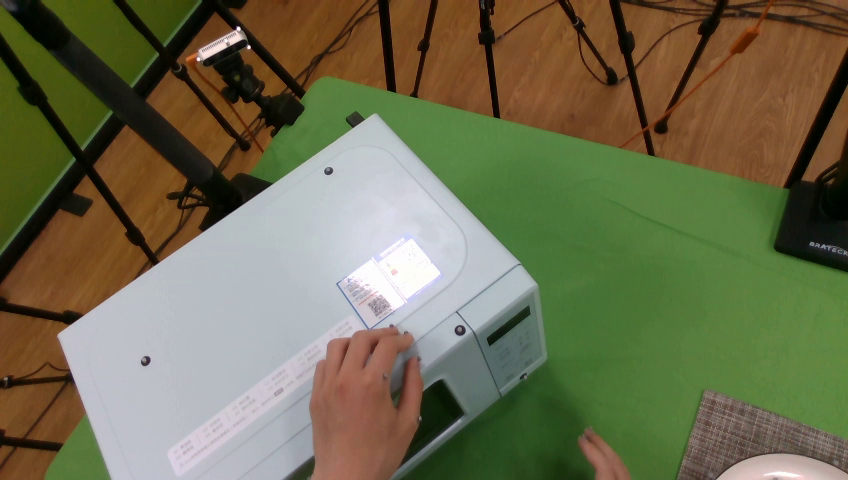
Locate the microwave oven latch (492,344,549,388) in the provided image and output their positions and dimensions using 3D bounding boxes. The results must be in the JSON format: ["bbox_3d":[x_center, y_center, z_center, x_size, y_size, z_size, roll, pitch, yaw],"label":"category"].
[{"bbox_3d":[0.121,0.152,0.764,0.079,0.030,0.030,-35,60,-6],"label":"microwave oven latch"}]

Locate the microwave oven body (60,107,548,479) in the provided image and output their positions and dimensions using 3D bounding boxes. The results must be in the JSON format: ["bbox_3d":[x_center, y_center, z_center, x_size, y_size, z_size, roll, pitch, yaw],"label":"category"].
[{"bbox_3d":[-0.125,0.114,0.732,0.441,0.263,0.322,-37,60,-7],"label":"microwave oven body"}]

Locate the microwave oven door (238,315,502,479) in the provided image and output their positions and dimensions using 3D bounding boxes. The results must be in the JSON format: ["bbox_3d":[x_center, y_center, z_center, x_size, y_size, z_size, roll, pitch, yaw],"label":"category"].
[{"bbox_3d":[-0.077,0.232,0.650,0.356,0.246,0.039,-37,59,-7],"label":"microwave oven door"}]

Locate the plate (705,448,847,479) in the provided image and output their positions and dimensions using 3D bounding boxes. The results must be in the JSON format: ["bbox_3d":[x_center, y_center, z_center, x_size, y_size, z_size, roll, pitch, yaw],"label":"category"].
[{"bbox_3d":[0.380,0.324,0.624,0.207,0.039,0.206,-6,61,11],"label":"plate"}]
